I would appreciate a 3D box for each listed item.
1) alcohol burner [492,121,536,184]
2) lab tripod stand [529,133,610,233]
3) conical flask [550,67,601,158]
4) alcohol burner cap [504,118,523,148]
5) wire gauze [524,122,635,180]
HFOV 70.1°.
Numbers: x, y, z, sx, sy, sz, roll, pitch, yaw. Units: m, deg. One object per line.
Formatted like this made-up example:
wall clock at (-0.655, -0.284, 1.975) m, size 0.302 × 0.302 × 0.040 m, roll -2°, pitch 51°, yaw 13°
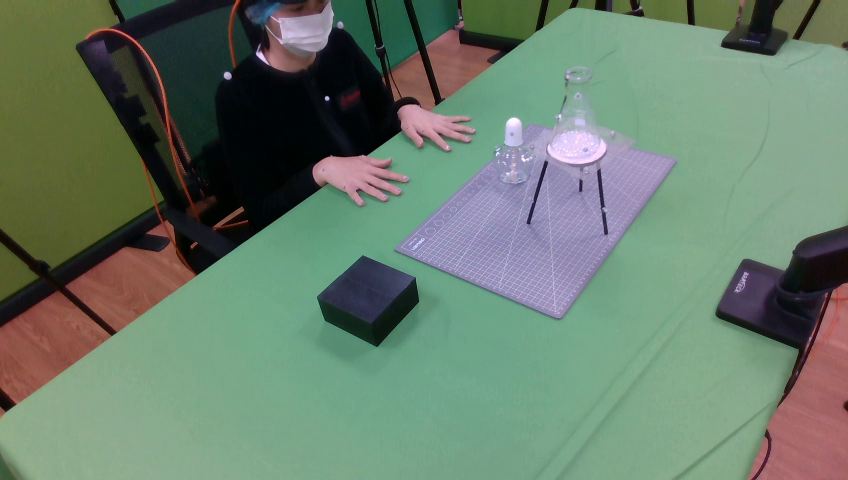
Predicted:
alcohol burner at (0.159, -0.158, 1.064) m, size 0.078 × 0.119 × 0.077 m, roll -3°, pitch 41°, yaw 3°
lab tripod stand at (0.236, -0.089, 0.953) m, size 0.148 × 0.132 × 0.147 m, roll -5°, pitch 42°, yaw 5°
conical flask at (0.221, -0.186, 0.875) m, size 0.075 × 0.122 × 0.075 m, roll -5°, pitch 40°, yaw 5°
alcohol burner cap at (0.154, -0.186, 1.042) m, size 0.034 × 0.048 × 0.033 m, roll -4°, pitch 33°, yaw 3°
wire gauze at (0.233, -0.142, 0.913) m, size 0.122 × 0.011 × 0.124 m, roll -31°, pitch 43°, yaw -26°
